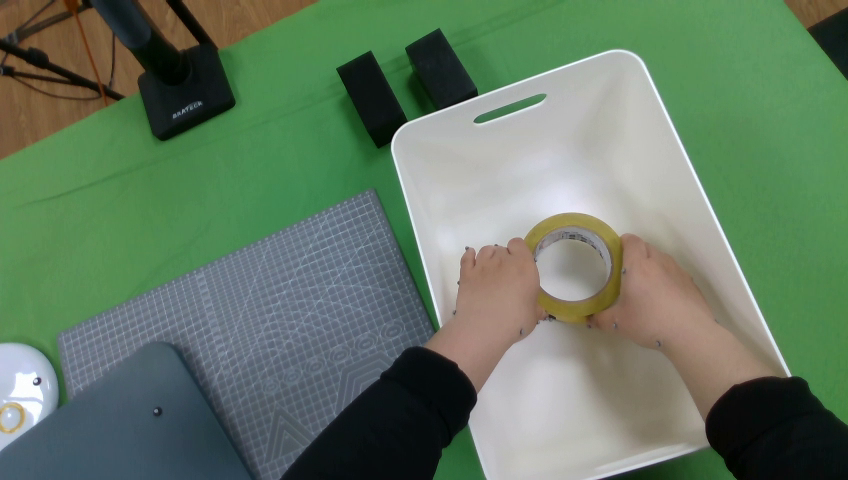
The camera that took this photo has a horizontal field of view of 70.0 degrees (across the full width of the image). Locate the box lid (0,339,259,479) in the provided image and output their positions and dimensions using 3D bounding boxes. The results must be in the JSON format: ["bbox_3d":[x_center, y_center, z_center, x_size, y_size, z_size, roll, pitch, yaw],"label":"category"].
[{"bbox_3d":[-0.309,0.320,0.676,0.263,0.015,0.369,-38,73,-4],"label":"box lid"}]

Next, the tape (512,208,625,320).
[{"bbox_3d":[0.152,0.025,0.641,0.116,0.053,0.116,-2,76,9],"label":"tape"}]

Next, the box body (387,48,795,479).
[{"bbox_3d":[0.140,0.032,0.606,0.254,0.161,0.361,-19,71,5],"label":"box body"}]

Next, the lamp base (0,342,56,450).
[{"bbox_3d":[-0.557,0.180,0.682,0.178,0.181,0.160,13,76,17],"label":"lamp base"}]
